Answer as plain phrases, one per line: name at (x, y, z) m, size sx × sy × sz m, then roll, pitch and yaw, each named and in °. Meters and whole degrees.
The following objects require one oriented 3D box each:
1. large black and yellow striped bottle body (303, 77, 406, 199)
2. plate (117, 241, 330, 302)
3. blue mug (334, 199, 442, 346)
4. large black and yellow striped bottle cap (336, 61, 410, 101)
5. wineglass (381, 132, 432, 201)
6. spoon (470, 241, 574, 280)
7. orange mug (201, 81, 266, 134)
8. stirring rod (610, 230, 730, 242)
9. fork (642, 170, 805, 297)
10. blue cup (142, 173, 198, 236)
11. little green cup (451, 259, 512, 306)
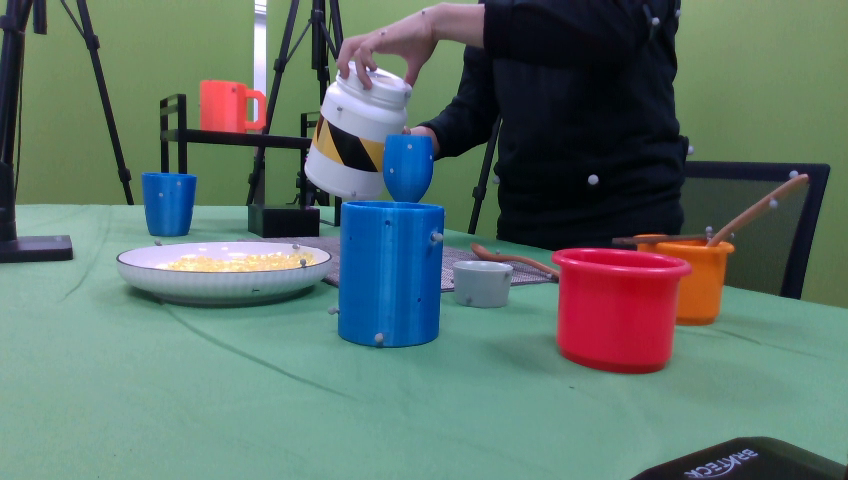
large black and yellow striped bottle body at (-0.106, -0.172, 0.959) m, size 0.131 × 0.184 × 0.130 m, roll 18°, pitch 25°, yaw -9°
plate at (-0.203, 0.031, 0.630) m, size 0.209 × 0.038 × 0.209 m, roll 3°, pitch 7°, yaw 0°
blue mug at (-0.034, 0.020, 0.498) m, size 0.083 × 0.106 × 0.116 m, roll 0°, pitch 7°, yaw -20°
large black and yellow striped bottle cap at (-0.077, -0.244, 0.923) m, size 0.115 × 0.019 × 0.115 m, roll 18°, pitch 27°, yaw -9°
wineglass at (-0.026, -0.061, 0.841) m, size 0.074 × 0.172 × 0.073 m, roll 2°, pitch 7°, yaw 0°
spoon at (0.124, 0.025, 0.800) m, size 0.042 × 0.021 × 0.192 m, roll 22°, pitch -5°, yaw -34°
orange mug at (-0.376, -0.260, 1.198) m, size 0.126 × 0.101 × 0.083 m, roll -3°, pitch 8°, yaw -6°
stirring rod at (0.241, -0.005, 0.582) m, size 0.177 × 0.006 × 0.014 m, roll -3°, pitch 10°, yaw -34°
fork at (0.261, 0.003, 0.545) m, size 0.028 × 0.018 × 0.207 m, roll 5°, pitch -37°, yaw -16°
blue cup at (-0.425, -0.060, 1.014) m, size 0.093 × 0.100 × 0.092 m, roll 4°, pitch 9°, yaw 0°
little green cup at (0.057, 0.043, 0.611) m, size 0.061 × 0.038 × 0.061 m, roll 3°, pitch 8°, yaw 0°
